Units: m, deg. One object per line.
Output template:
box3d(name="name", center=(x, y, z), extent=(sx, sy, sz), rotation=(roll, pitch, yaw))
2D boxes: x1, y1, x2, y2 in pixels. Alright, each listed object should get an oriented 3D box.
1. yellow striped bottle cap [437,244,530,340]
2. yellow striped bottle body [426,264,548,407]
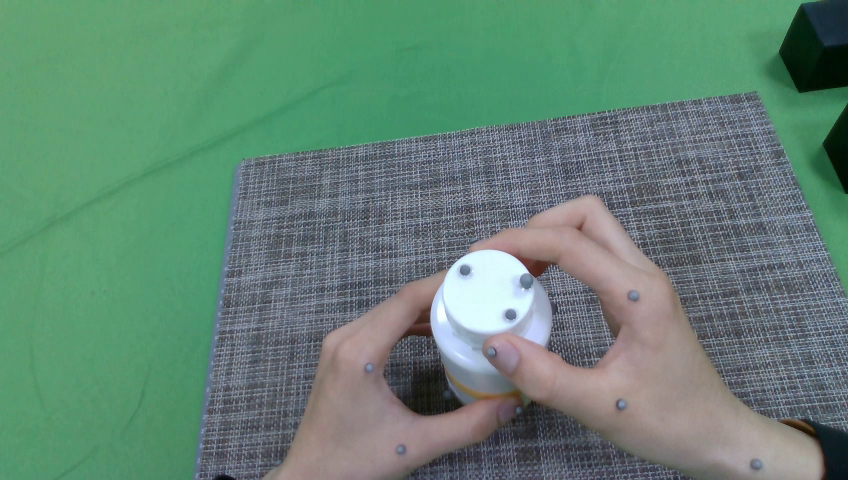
box3d(name="yellow striped bottle cap", center=(0.029, 0.024, 0.288), extent=(0.044, 0.019, 0.044), rotation=(-3, 63, 6))
box3d(name="yellow striped bottle body", center=(0.035, 0.050, 0.338), extent=(0.063, 0.121, 0.062), rotation=(-2, 63, 5))
